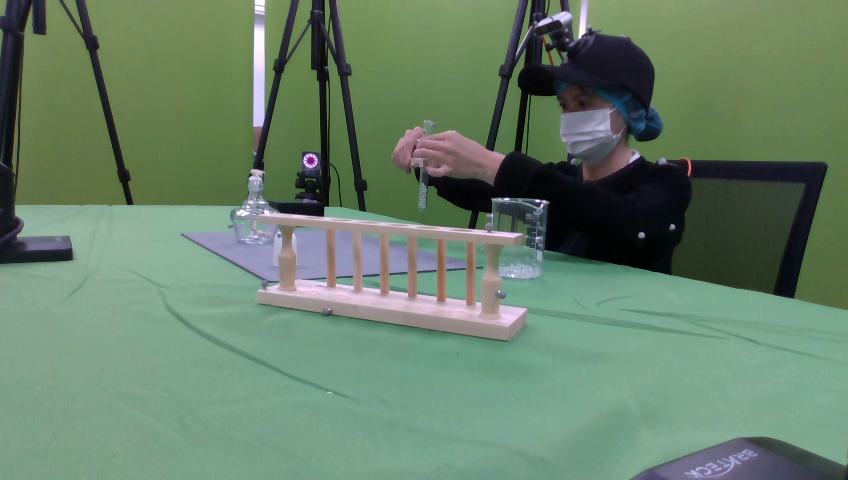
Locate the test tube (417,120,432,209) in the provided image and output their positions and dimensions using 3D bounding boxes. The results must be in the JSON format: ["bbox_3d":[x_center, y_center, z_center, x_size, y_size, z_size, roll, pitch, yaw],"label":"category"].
[{"bbox_3d":[0.000,-0.127,1.022,0.017,0.150,0.017,4,5,0],"label":"test tube"}]

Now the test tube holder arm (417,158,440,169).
[{"bbox_3d":[-0.004,-0.132,1.042,0.010,0.015,0.087,4,8,-39],"label":"test tube holder arm"}]

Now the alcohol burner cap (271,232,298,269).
[{"bbox_3d":[-0.175,0.012,0.761,0.034,0.048,0.034,2,8,0],"label":"alcohol burner cap"}]

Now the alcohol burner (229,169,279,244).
[{"bbox_3d":[-0.268,-0.053,0.958,0.078,0.119,0.078,2,5,0],"label":"alcohol burner"}]

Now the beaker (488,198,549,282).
[{"bbox_3d":[0.120,-0.001,0.768,0.074,0.100,0.083,-1,9,-25],"label":"beaker"}]

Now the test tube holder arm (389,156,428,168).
[{"bbox_3d":[-0.030,-0.140,1.078,0.013,0.015,0.177,8,6,-24],"label":"test tube holder arm"}]

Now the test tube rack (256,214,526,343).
[{"bbox_3d":[-0.032,0.027,0.547,0.241,0.085,0.067,6,7,22],"label":"test tube rack"}]
